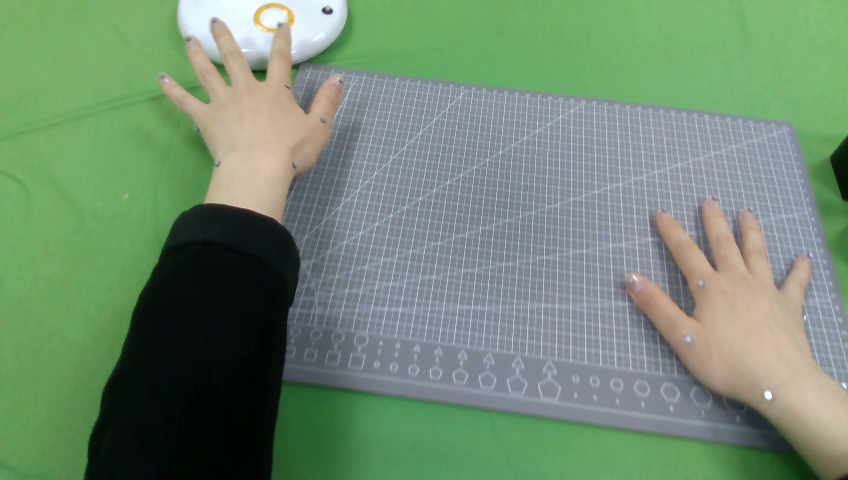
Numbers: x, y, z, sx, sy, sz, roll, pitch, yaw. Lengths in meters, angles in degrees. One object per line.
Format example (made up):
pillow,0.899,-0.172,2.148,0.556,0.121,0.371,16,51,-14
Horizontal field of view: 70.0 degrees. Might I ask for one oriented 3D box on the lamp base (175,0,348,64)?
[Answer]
lamp base,-0.159,-0.276,0.523,0.161,0.182,0.177,-29,60,-20
